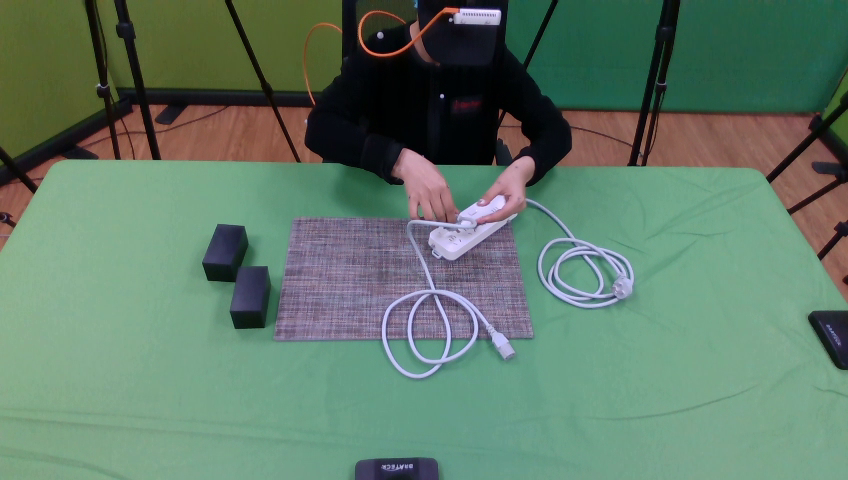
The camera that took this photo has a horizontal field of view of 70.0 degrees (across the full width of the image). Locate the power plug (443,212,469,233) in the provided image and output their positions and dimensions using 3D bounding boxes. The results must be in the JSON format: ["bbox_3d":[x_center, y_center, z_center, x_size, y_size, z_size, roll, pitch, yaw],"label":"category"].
[{"bbox_3d":[0.064,-0.027,1.138,0.035,0.053,0.072,-52,41,-4],"label":"power plug"}]

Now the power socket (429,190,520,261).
[{"bbox_3d":[0.104,-0.032,1.222,0.226,0.033,0.072,-33,57,-30],"label":"power socket"}]
